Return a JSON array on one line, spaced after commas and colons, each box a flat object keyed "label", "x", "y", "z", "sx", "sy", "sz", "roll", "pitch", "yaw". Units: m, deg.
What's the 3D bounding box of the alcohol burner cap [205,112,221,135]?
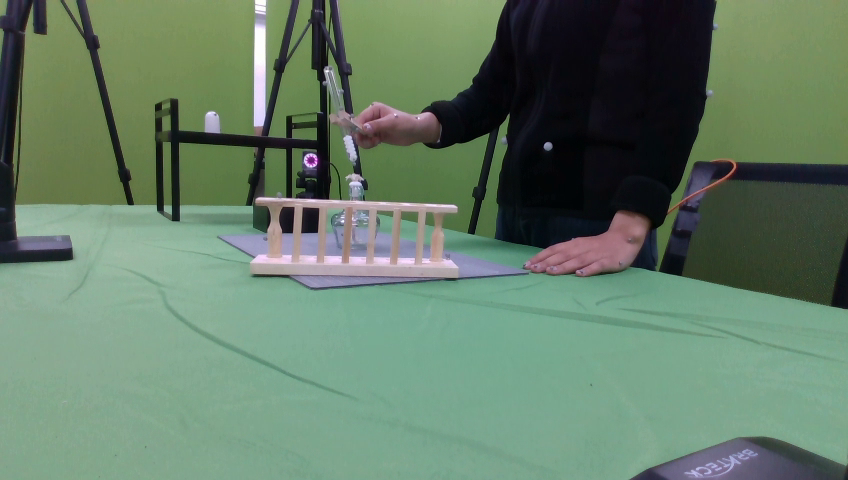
[{"label": "alcohol burner cap", "x": -0.443, "y": -0.245, "z": 1.270, "sx": 0.034, "sy": 0.048, "sz": 0.034, "roll": 3, "pitch": 8, "yaw": 0}]

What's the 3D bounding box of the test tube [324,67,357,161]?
[{"label": "test tube", "x": -0.128, "y": -0.192, "z": 0.925, "sx": 0.017, "sy": 0.150, "sz": 0.017, "roll": -15, "pitch": -3, "yaw": -1}]

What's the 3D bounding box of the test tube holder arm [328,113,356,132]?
[{"label": "test tube holder arm", "x": -0.124, "y": -0.183, "z": 0.947, "sx": 0.010, "sy": 0.015, "sz": 0.088, "roll": -17, "pitch": -5, "yaw": 19}]

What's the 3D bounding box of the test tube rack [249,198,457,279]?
[{"label": "test tube rack", "x": -0.082, "y": -0.002, "z": 0.732, "sx": 0.243, "sy": 0.085, "sz": 0.066, "roll": 2, "pitch": 8, "yaw": -7}]

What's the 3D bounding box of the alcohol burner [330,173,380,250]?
[{"label": "alcohol burner", "x": -0.107, "y": -0.044, "z": 0.938, "sx": 0.078, "sy": 0.119, "sz": 0.078, "roll": 1, "pitch": 6, "yaw": 0}]

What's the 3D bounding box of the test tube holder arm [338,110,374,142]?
[{"label": "test tube holder arm", "x": -0.108, "y": -0.184, "z": 0.990, "sx": 0.013, "sy": 0.015, "sz": 0.179, "roll": -16, "pitch": -5, "yaw": 10}]
